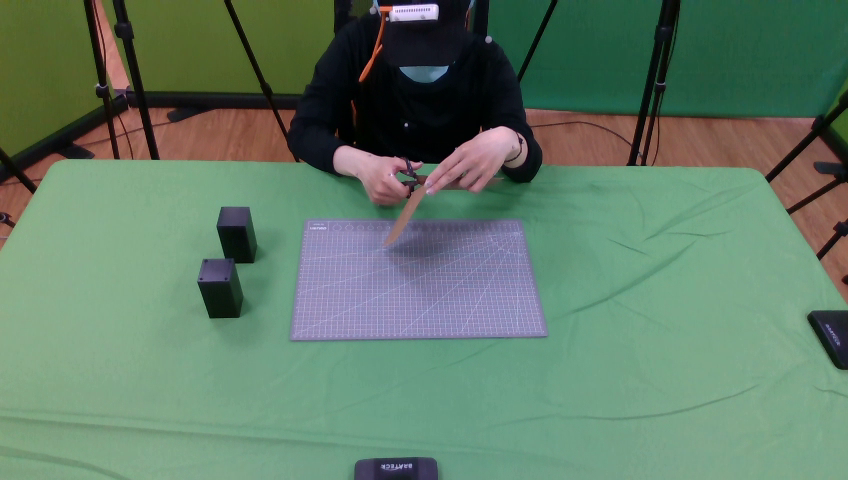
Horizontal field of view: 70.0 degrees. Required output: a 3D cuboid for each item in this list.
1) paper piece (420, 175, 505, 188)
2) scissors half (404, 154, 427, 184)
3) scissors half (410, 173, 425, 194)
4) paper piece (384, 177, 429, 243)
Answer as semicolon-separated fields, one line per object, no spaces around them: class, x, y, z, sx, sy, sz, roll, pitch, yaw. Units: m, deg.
paper piece;0.070;-0.112;1.156;0.138;0.136;0.008;1;90;-14
scissors half;-0.016;-0.133;1.167;0.013;0.040;0.174;-23;26;-5
scissors half;-0.010;-0.113;1.172;0.013;0.175;0.040;-18;91;-6
paper piece;-0.036;-0.053;1.123;0.004;0.135;0.135;33;79;-5
